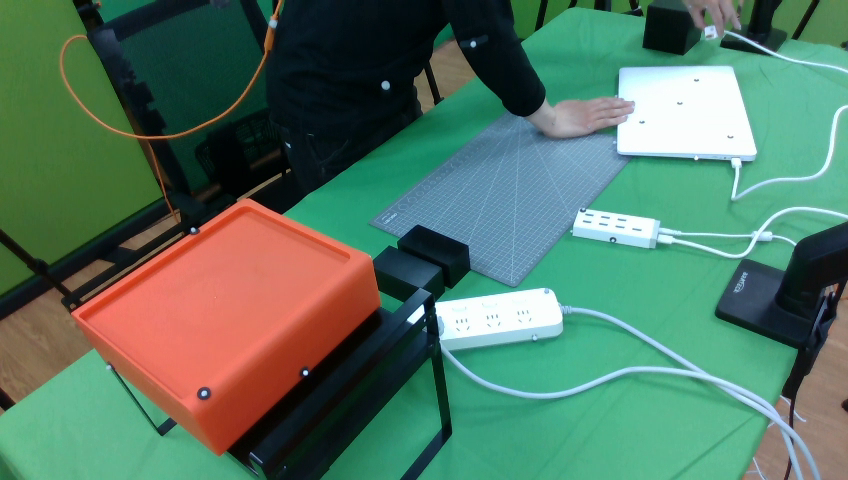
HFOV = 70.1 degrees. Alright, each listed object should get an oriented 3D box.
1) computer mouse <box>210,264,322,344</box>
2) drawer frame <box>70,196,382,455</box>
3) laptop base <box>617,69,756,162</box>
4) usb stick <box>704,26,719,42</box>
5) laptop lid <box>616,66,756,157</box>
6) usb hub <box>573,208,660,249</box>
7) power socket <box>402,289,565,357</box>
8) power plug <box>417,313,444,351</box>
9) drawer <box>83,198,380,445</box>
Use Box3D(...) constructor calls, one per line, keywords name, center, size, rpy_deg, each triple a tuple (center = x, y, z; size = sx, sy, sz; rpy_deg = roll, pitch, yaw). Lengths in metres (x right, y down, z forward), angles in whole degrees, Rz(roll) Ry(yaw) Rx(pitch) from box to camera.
Box3D(name="computer mouse", center=(-0.164, 0.062, 0.624), size=(0.116, 0.041, 0.063), rpy_deg=(22, 44, 27))
Box3D(name="drawer frame", center=(-0.186, 0.068, 0.597), size=(0.200, 0.083, 0.214), rpy_deg=(23, 49, 30))
Box3D(name="laptop base", center=(0.507, -0.255, 1.204), size=(0.235, 0.023, 0.353), rpy_deg=(3, 41, 16))
Box3D(name="usb stick", center=(0.612, -0.438, 1.291), size=(0.021, 0.027, 0.059), rpy_deg=(2, 25, 39))
Box3D(name="laptop lid", center=(0.504, -0.265, 1.196), size=(0.241, 0.013, 0.356), rpy_deg=(4, 41, 16))
Box3D(name="usb hub", center=(0.302, -0.019, 0.950), size=(0.124, 0.025, 0.049), rpy_deg=(11, 43, 20))
Box3D(name="power socket", center=(0.081, 0.112, 0.822), size=(0.227, 0.033, 0.072), rpy_deg=(-7, 41, -1))
Box3D(name="power plug", center=(0.007, 0.127, 0.786), size=(0.035, 0.053, 0.072), rpy_deg=(0, 43, 8))
Box3D(name="drawer", center=(-0.185, 0.066, 0.600), size=(0.193, 0.073, 0.212), rpy_deg=(24, 50, 31))
